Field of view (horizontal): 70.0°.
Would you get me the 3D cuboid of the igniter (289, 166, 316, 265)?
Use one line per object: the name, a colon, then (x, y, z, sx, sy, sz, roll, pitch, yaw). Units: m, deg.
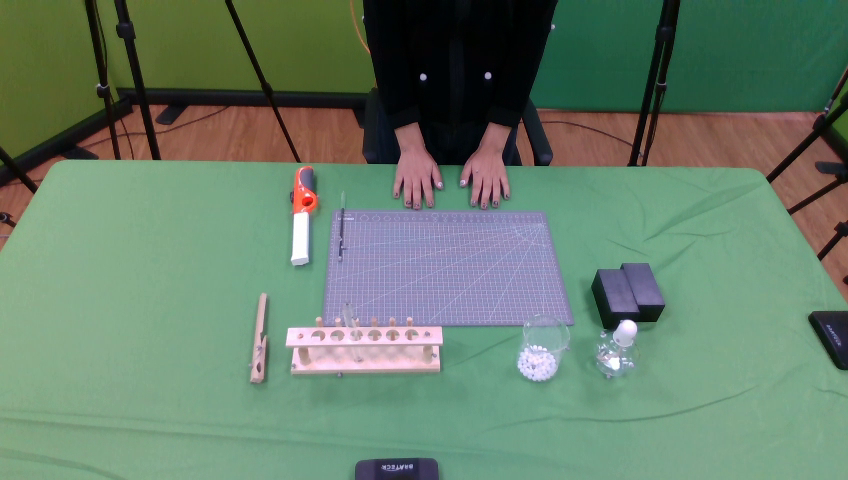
igniter: (-0.248, -0.058, 1.233, 0.057, 0.025, 0.274, -9, 47, 1)

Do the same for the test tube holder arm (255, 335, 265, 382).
test tube holder arm: (-0.270, 0.193, 0.997, 0.010, 0.015, 0.087, 23, 36, -32)

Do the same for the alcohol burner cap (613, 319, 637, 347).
alcohol burner cap: (0.323, 0.146, 0.966, 0.034, 0.048, 0.033, -1, 52, 2)

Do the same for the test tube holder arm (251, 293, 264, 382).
test tube holder arm: (-0.281, 0.160, 1.025, 0.013, 0.015, 0.177, 23, 36, -32)

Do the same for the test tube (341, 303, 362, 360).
test tube: (-0.111, 0.145, 0.938, 0.017, 0.151, 0.017, -1, 50, 2)

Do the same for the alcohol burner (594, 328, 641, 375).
alcohol burner: (0.322, 0.170, 0.994, 0.078, 0.119, 0.077, 3, 48, -3)

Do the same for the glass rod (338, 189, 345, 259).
glass rod: (-0.166, -0.037, 1.227, 0.008, 0.008, 0.198, -1, 47, -4)

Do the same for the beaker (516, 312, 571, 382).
beaker: (0.189, 0.180, 0.985, 0.073, 0.101, 0.084, 30, 52, 24)

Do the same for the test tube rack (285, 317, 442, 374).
test tube rack: (-0.095, 0.166, 0.988, 0.242, 0.085, 0.066, 0, 46, -4)
